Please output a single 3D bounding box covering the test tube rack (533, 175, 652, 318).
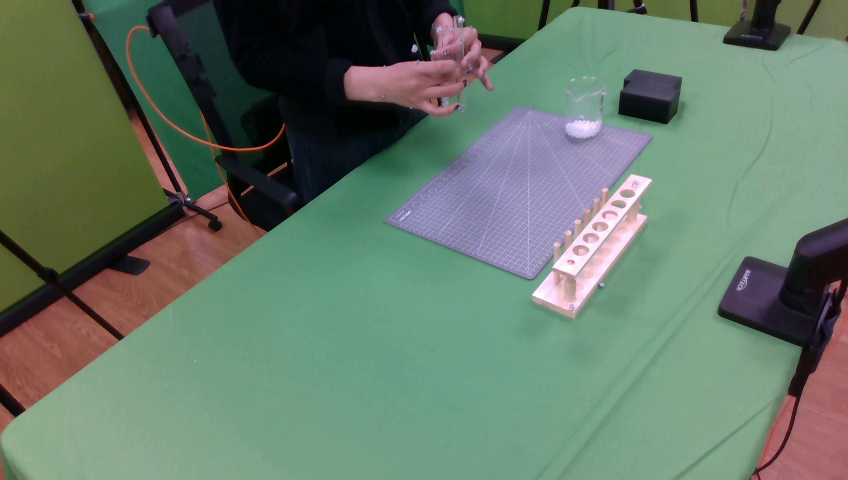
[{"bbox_3d":[0.250,-0.001,0.889,0.066,0.085,0.243,22,49,33],"label":"test tube rack"}]

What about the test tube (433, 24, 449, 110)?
[{"bbox_3d":[0.029,-0.285,1.010,0.017,0.151,0.017,-4,41,4],"label":"test tube"}]

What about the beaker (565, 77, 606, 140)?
[{"bbox_3d":[0.304,-0.247,1.153,0.073,0.101,0.084,15,46,27],"label":"beaker"}]

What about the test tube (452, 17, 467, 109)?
[{"bbox_3d":[0.059,-0.288,0.991,0.017,0.151,0.017,-5,32,3],"label":"test tube"}]
